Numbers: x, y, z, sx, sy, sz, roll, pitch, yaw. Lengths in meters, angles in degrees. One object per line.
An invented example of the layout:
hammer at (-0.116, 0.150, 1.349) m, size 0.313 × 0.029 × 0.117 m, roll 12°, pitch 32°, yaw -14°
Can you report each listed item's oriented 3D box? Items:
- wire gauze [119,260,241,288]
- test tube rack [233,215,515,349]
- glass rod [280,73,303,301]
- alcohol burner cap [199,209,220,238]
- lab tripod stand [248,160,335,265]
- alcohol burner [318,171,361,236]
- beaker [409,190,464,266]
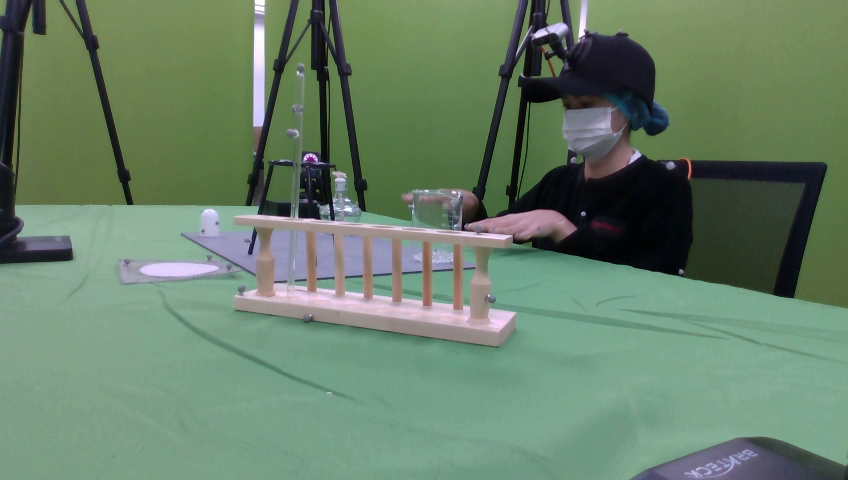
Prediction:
wire gauze at (-0.288, 0.034, 0.706) m, size 0.122 × 0.011 × 0.124 m, roll -3°, pitch 10°, yaw -29°
test tube rack at (-0.045, 0.029, 0.526) m, size 0.241 × 0.085 × 0.067 m, roll 5°, pitch 8°, yaw 19°
glass rod at (-0.114, -0.040, 0.516) m, size 0.008 × 0.199 × 0.008 m, roll 7°, pitch 14°, yaw -2°
alcohol burner cap at (-0.356, -0.027, 1.002) m, size 0.034 × 0.048 × 0.034 m, roll 2°, pitch 7°, yaw 0°
lab tripod stand at (-0.165, -0.041, 0.817) m, size 0.148 × 0.131 × 0.148 m, roll 5°, pitch 7°, yaw 0°
alcohol burner at (-0.155, -0.067, 1.104) m, size 0.078 × 0.119 × 0.078 m, roll 1°, pitch 8°, yaw 0°
beaker at (0.018, -0.018, 0.840) m, size 0.074 × 0.100 × 0.083 m, roll -3°, pitch 10°, yaw -35°
